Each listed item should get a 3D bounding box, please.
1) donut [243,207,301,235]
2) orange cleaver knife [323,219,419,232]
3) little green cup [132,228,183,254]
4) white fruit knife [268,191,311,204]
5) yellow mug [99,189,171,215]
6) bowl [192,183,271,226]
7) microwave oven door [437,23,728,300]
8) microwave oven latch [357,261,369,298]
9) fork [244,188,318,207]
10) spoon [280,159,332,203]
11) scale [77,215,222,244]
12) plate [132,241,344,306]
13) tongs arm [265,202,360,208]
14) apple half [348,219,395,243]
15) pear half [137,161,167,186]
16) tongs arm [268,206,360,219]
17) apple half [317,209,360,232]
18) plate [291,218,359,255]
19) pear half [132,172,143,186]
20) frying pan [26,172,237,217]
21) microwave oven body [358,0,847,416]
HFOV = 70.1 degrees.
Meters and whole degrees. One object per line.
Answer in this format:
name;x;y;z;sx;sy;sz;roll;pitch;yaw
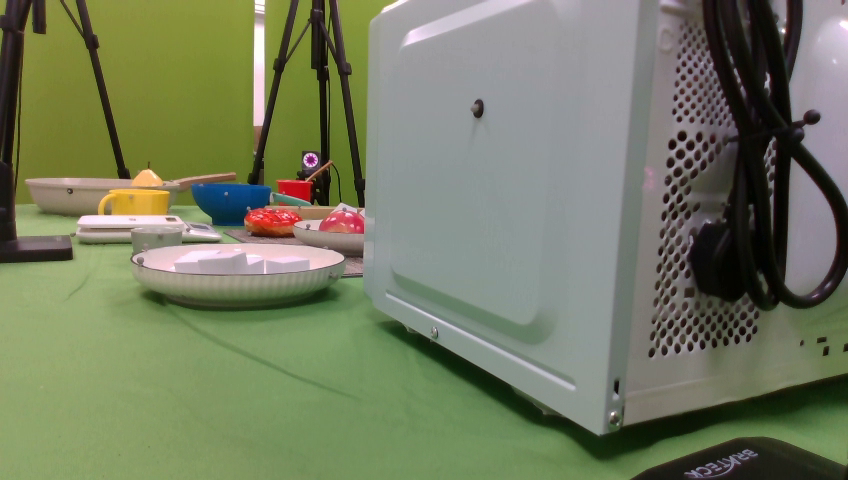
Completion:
donut;-0.261;-0.032;1.043;0.099;0.048;0.099;4;9;0
orange cleaver knife;-0.097;-0.027;1.153;0.077;0.012;0.212;1;6;41
little green cup;-0.342;0.006;0.779;0.061;0.038;0.061;2;8;0
white fruit knife;-0.364;-0.105;1.464;0.208;0.027;0.016;15;0;-34
yellow mug;-0.518;-0.055;1.080;0.099;0.064;0.131;7;9;26
bowl;-0.382;-0.071;1.202;0.151;0.077;0.151;3;7;0
microwave oven door;0.181;-0.072;0.621;0.358;0.243;0.039;-2;8;-29
microwave oven latch;-0.019;0.033;0.530;0.079;0.029;0.030;-1;7;-26
fork;-0.356;-0.105;1.526;0.208;0.018;0.028;16;-5;-41
spoon;-0.316;-0.159;1.640;0.194;0.022;0.041;-50;30;-20
scale;-0.434;-0.019;0.963;0.202;0.031;0.148;-1;9;-27
plate;-0.187;0.033;0.625;0.208;0.039;0.207;2;8;0
tongs arm;-0.209;-0.071;1.437;0.389;0.027;0.028;1;1;-17
apple half;-0.083;-0.018;0.967;0.081;0.033;0.081;5;10;-1
pear half;-0.602;-0.120;1.354;0.056;0.110;0.076;4;11;6
tongs arm;-0.173;-0.061;1.362;0.387;0.026;0.050;-1;5;-31
apple half;-0.122;-0.020;0.900;0.080;0.053;0.075;4;10;14
plate;-0.098;-0.007;0.928;0.209;0.038;0.209;2;8;0
pear half;-0.638;-0.113;1.361;0.031;0.088;0.070;5;10;4
frying pan;-0.624;-0.118;1.387;0.305;0.102;0.490;8;17;32
microwave oven body;0.211;-0.047;0.474;0.444;0.260;0.324;-1;7;-28
